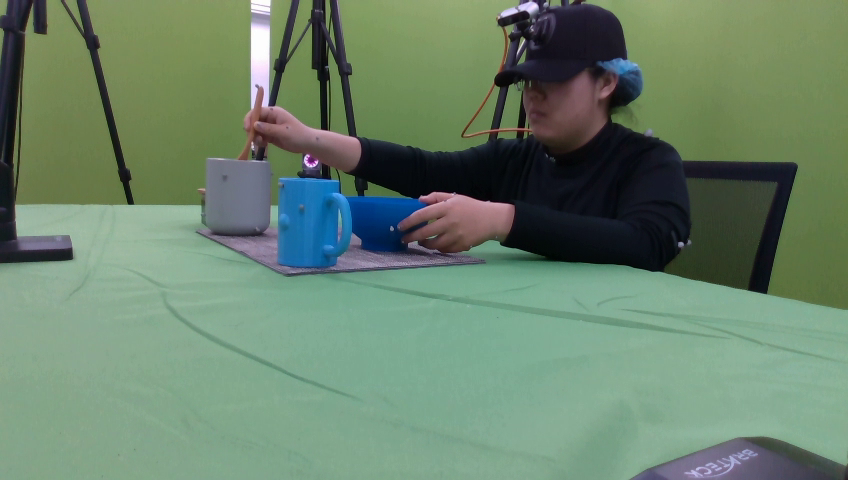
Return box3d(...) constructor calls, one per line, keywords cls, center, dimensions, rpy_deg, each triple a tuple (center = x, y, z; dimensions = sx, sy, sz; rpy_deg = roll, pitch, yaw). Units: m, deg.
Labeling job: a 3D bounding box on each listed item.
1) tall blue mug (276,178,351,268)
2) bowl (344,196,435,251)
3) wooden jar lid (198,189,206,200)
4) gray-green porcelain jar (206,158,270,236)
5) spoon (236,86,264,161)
box3d(cls="tall blue mug", center=(-0.134, -0.022, 0.766), dimensions=(0.107, 0.108, 0.078), rpy_deg=(4, 6, 12))
box3d(cls="bowl", center=(-0.061, -0.026, 0.943), dimensions=(0.151, 0.077, 0.151), rpy_deg=(3, 7, 0))
box3d(cls="wooden jar lid", center=(-0.382, -0.088, 1.175), dimensions=(0.108, 0.020, 0.108), rpy_deg=(3, 8, 0))
box3d(cls="gray-green porcelain jar", center=(-0.317, -0.074, 1.031), dimensions=(0.106, 0.126, 0.106), rpy_deg=(3, 7, 0))
box3d(cls="spoon", center=(-0.303, -0.171, 1.043), dimensions=(0.042, 0.193, 0.021), rpy_deg=(17, 1, -45))
